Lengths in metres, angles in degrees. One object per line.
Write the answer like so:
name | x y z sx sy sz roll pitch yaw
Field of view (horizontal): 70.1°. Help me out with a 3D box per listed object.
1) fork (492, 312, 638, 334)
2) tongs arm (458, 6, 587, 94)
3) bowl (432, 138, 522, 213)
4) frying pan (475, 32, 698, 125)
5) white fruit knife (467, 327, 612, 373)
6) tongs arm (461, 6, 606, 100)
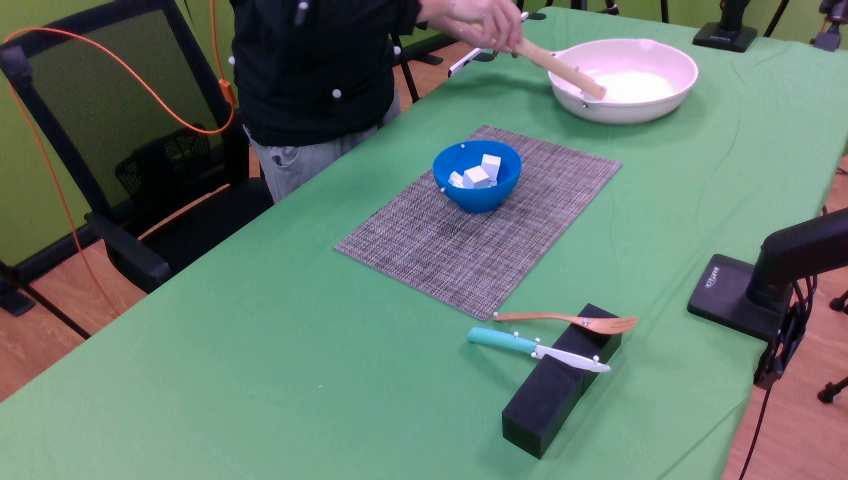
fork | 0.173 0.103 0.774 0.206 0.019 0.028 0 38 40
tongs arm | 0.197 -0.338 1.103 0.391 0.028 0.028 12 26 -42
bowl | 0.091 -0.099 1.022 0.151 0.077 0.150 -4 41 4
frying pan | 0.320 -0.371 1.290 0.485 0.103 0.307 28 50 23
white fruit knife | 0.134 0.134 0.742 0.205 0.027 0.016 7 35 41
tongs arm | 0.211 -0.325 1.085 0.388 0.026 0.050 10 24 -45
